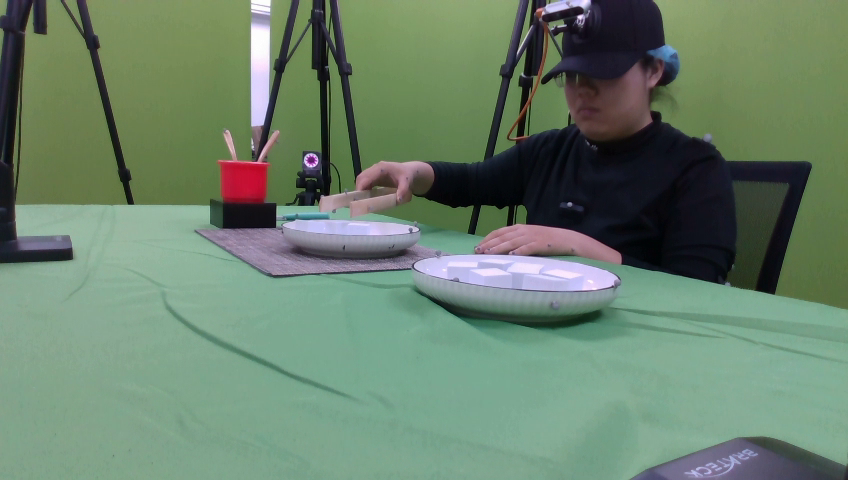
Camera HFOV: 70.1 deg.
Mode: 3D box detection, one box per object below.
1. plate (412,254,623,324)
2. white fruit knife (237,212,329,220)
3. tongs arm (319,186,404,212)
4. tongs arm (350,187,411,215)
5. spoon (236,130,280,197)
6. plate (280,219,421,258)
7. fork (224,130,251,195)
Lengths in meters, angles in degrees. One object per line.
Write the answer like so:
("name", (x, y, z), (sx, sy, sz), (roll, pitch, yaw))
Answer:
("plate", (0.090, 0.047, 0.609), (0.209, 0.038, 0.209), (2, 7, 0))
("white fruit knife", (-0.304, -0.050, 1.328), (0.208, 0.016, 0.027), (-3, -19, -30))
("tongs arm", (-0.103, -0.078, 1.115), (0.051, 0.026, 0.385), (5, 8, 10))
("tongs arm", (-0.072, -0.075, 1.108), (0.028, 0.028, 0.388), (2, 8, 12))
("spoon", (-0.321, -0.154, 1.192), (0.041, 0.193, 0.022), (0, -37, 19))
("plate", (-0.108, -0.002, 0.902), (0.208, 0.039, 0.207), (3, 7, 0))
("fork", (-0.372, -0.155, 1.193), (0.028, 0.018, 0.206), (-17, 54, -13))
